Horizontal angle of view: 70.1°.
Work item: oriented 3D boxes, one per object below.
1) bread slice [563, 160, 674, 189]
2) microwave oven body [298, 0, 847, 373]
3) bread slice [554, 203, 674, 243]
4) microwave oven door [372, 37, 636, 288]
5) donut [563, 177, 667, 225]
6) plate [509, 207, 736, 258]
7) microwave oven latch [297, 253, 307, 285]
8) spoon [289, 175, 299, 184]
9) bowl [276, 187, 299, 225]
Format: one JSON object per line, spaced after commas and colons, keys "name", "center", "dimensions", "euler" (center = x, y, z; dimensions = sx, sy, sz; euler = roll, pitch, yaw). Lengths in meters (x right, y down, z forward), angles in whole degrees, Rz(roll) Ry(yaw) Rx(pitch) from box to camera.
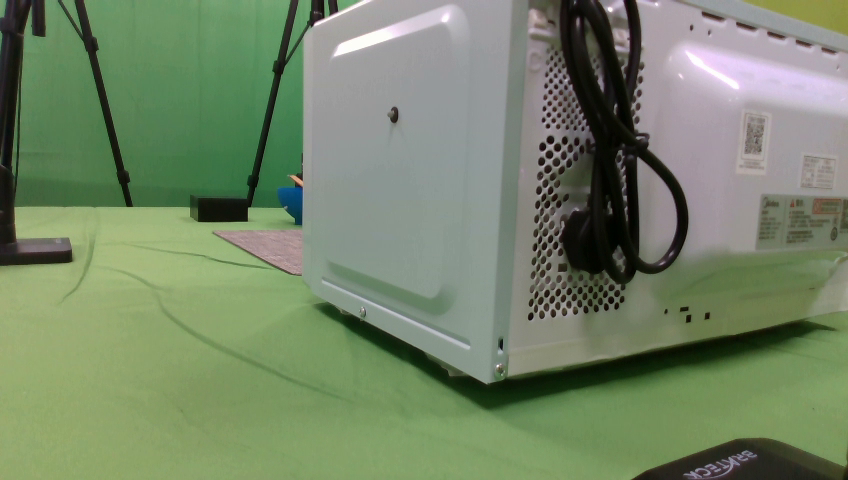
{"name": "bread slice", "center": [0.186, -0.063, 0.578], "dimensions": [0.104, 0.019, 0.132], "euler": [7, 6, 15]}
{"name": "microwave oven body", "center": [0.151, -0.055, 0.542], "dimensions": [0.444, 0.260, 0.324], "euler": [-1, 7, -33]}
{"name": "bread slice", "center": [0.183, -0.017, 0.580], "dimensions": [0.107, 0.018, 0.134], "euler": [-4, 9, 9]}
{"name": "microwave oven door", "center": [0.110, -0.080, 0.686], "dimensions": [0.358, 0.243, 0.039], "euler": [-2, 9, -33]}
{"name": "donut", "center": [0.184, -0.037, 0.587], "dimensions": [0.099, 0.048, 0.099], "euler": [-2, 3, 0]}
{"name": "plate", "center": [0.186, -0.009, 0.588], "dimensions": [0.208, 0.039, 0.207], "euler": [1, 5, 0]}
{"name": "microwave oven latch", "center": [-0.082, 0.027, 0.582], "dimensions": [0.079, 0.029, 0.030], "euler": [-1, 7, -33]}
{"name": "spoon", "center": [-0.260, -0.110, 1.343], "dimensions": [0.042, 0.021, 0.192], "euler": [-8, 33, -30]}
{"name": "bowl", "center": [-0.241, -0.073, 1.302], "dimensions": [0.151, 0.077, 0.151], "euler": [2, 7, 0]}
